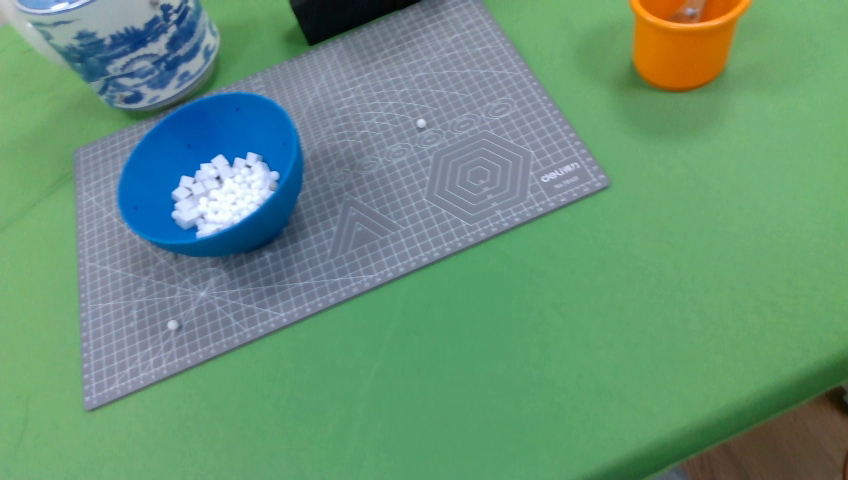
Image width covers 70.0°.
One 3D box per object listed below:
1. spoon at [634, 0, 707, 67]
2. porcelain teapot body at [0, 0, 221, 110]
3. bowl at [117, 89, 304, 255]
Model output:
[{"bbox_3d":[0.239,-0.217,0.473,0.022,0.194,0.041,5,46,-36],"label":"spoon"},{"bbox_3d":[-0.334,-0.236,0.579,0.205,0.227,0.144,-12,57,7],"label":"porcelain teapot body"},{"bbox_3d":[-0.162,-0.043,0.504,0.151,0.077,0.150,-6,58,10],"label":"bowl"}]
